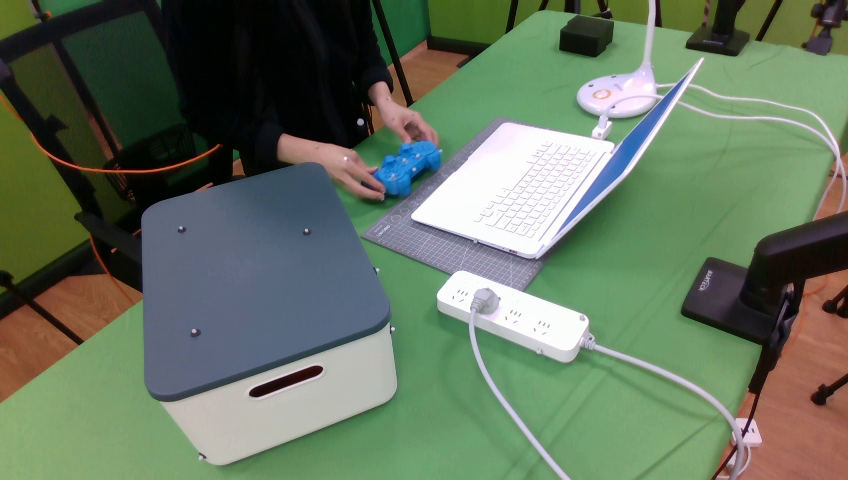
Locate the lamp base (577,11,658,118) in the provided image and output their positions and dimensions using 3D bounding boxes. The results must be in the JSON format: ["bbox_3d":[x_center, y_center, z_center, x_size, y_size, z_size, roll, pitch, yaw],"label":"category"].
[{"bbox_3d":[0.406,-0.363,1.222,0.180,0.181,0.159,-20,42,-18],"label":"lamp base"}]

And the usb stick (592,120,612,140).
[{"bbox_3d":[0.335,-0.203,1.149,0.021,0.027,0.059,26,54,26],"label":"usb stick"}]

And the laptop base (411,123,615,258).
[{"bbox_3d":[0.167,-0.102,1.074,0.234,0.023,0.355,17,45,30],"label":"laptop base"}]

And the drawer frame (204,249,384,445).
[{"bbox_3d":[-0.174,0.129,0.789,0.202,0.083,0.212,-16,45,-7],"label":"drawer frame"}]

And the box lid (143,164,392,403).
[{"bbox_3d":[-0.212,0.025,0.753,0.264,0.015,0.368,-18,40,-13],"label":"box lid"}]

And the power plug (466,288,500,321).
[{"bbox_3d":[0.072,0.093,0.813,0.035,0.053,0.073,30,55,35],"label":"power plug"}]

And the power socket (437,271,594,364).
[{"bbox_3d":[0.118,0.102,0.830,0.225,0.033,0.072,20,48,28],"label":"power socket"}]

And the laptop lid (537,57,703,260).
[{"bbox_3d":[0.304,-0.127,0.928,0.013,0.241,0.357,40,51,4],"label":"laptop lid"}]

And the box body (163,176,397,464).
[{"bbox_3d":[-0.205,0.080,0.802,0.255,0.161,0.361,-18,41,-13],"label":"box body"}]

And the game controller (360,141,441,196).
[{"bbox_3d":[-0.038,-0.138,1.107,0.096,0.052,0.155,23,49,30],"label":"game controller"}]
